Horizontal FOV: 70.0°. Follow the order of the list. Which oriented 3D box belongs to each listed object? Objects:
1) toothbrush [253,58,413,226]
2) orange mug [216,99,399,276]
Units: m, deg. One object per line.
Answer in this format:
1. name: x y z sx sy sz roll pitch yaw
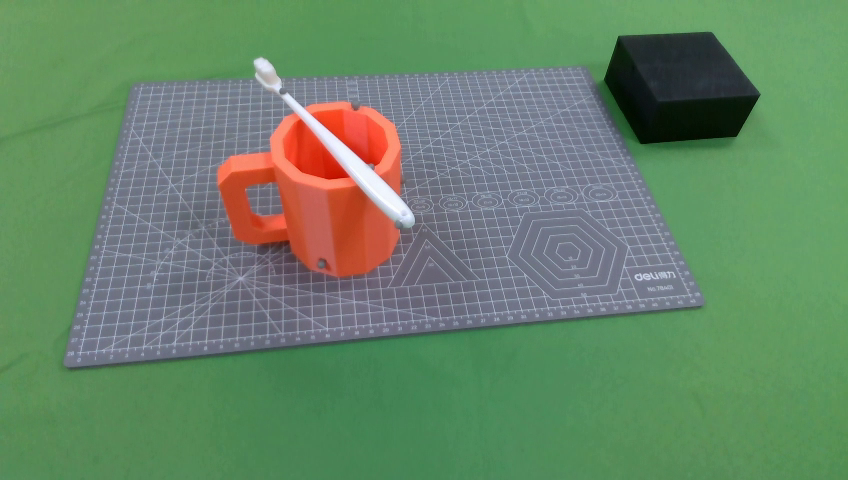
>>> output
1. toothbrush: -0.064 -0.068 0.395 0.014 0.017 0.180 -30 59 -25
2. orange mug: -0.079 -0.034 0.433 0.126 0.101 0.082 -6 52 -14
